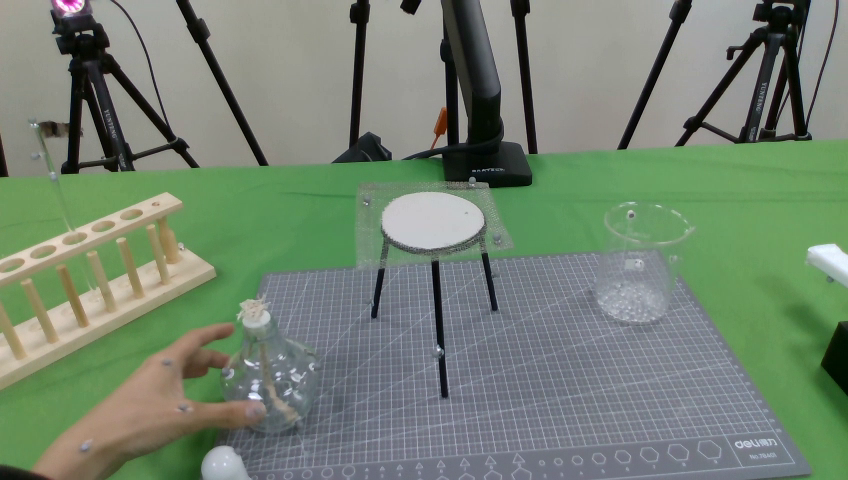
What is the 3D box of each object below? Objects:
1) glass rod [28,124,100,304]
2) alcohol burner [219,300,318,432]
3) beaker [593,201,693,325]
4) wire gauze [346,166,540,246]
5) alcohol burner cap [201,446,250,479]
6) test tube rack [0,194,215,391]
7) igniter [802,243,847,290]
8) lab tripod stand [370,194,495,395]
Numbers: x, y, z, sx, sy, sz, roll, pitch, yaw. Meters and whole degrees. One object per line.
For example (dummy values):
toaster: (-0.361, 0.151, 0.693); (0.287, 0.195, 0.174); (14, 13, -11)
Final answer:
glass rod: (-0.334, -0.015, 0.567); (0.008, 0.201, 0.008); (2, 36, -1)
alcohol burner: (-0.125, 0.094, 0.479); (0.078, 0.120, 0.077); (0, 33, 1)
beaker: (0.205, 0.024, 0.580); (0.084, 0.101, 0.073); (1, 34, 4)
wire gauze: (0.012, -0.028, 0.487); (0.125, 0.011, 0.120); (-9, 30, -24)
alcohol burner cap: (-0.144, 0.168, 0.435); (0.034, 0.048, 0.033); (1, 35, 0)
test tube rack: (-0.338, 0.047, 0.593); (0.066, 0.086, 0.242); (25, 42, 35)
igniter: (0.409, 0.077, 0.474); (0.057, 0.025, 0.273); (-8, 30, -9)
lab tripod stand: (0.010, 0.039, 0.537); (0.148, 0.132, 0.147); (0, 35, 0)
